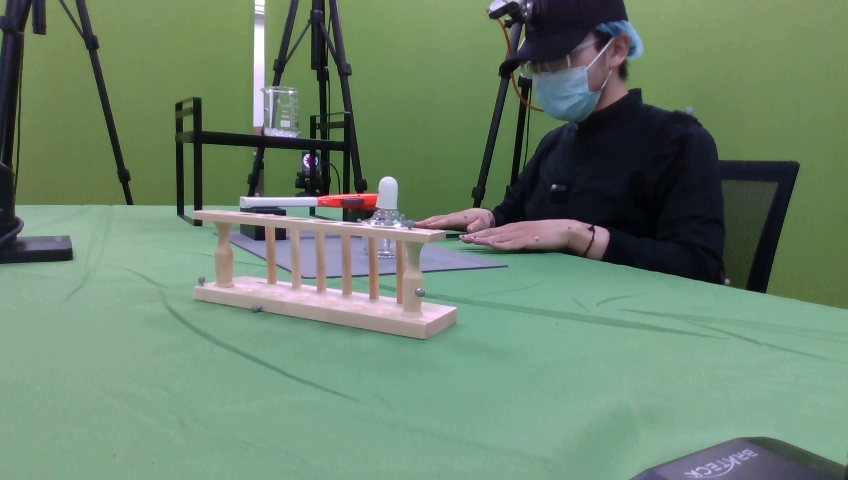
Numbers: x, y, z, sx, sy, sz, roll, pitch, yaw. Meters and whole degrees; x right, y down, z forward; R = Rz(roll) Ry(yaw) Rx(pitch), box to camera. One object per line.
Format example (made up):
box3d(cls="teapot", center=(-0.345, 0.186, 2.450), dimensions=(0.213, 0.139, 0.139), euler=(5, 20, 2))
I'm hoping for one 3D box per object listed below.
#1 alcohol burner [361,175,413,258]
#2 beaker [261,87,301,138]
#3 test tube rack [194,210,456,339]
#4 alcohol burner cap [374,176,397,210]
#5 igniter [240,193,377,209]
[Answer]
box3d(cls="alcohol burner", center=(-0.054, -0.034, 0.870), dimensions=(0.078, 0.119, 0.078), euler=(1, 9, 0))
box3d(cls="beaker", center=(-0.298, -0.263, 1.255), dimensions=(0.084, 0.100, 0.073), euler=(-5, 10, -40))
box3d(cls="test tube rack", center=(-0.093, 0.023, 0.545), dimensions=(0.241, 0.085, 0.067), euler=(6, 8, 25))
box3d(cls="alcohol burner cap", center=(-0.054, -0.068, 0.866), dimensions=(0.034, 0.048, 0.034), euler=(6, 9, -1))
box3d(cls="igniter", center=(-0.188, -0.070, 1.078), dimensions=(0.278, 0.025, 0.057), euler=(-5, 11, -35))
